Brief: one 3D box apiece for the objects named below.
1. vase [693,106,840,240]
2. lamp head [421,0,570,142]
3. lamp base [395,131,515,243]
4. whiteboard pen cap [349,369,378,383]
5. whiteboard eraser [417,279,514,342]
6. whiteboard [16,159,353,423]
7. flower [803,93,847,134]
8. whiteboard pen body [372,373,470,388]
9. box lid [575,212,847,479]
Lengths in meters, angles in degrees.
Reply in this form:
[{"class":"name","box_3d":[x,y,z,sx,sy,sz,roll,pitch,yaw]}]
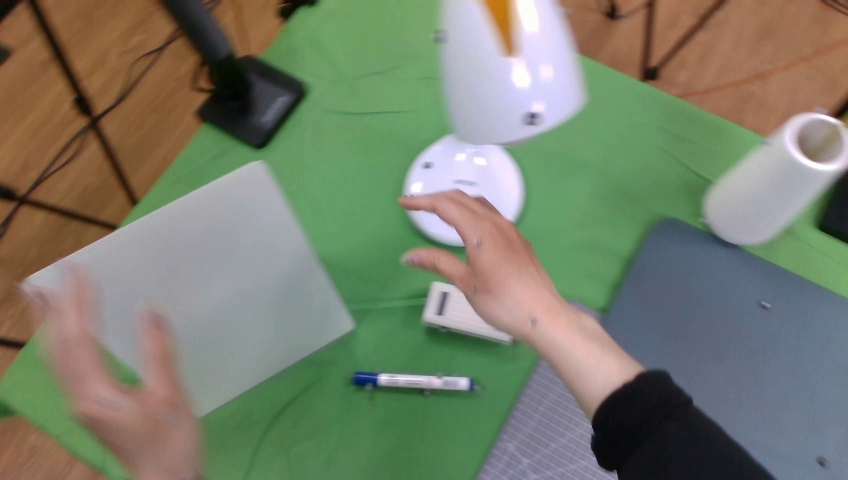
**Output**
[{"class":"vase","box_3d":[0.400,-0.074,0.718,0.098,0.201,0.097,0,69,0]},{"class":"lamp head","box_3d":[0.046,-0.155,0.471,0.112,0.124,0.111,-17,27,9]},{"class":"lamp base","box_3d":[0.039,-0.110,0.748,0.160,0.181,0.178,-2,67,1]},{"class":"whiteboard pen cap","box_3d":[-0.073,0.165,0.735,0.033,0.018,0.018,1,69,5]},{"class":"whiteboard eraser","box_3d":[0.051,0.087,0.749,0.112,0.042,0.055,12,72,5]},{"class":"whiteboard","box_3d":[-0.243,0.031,0.668,0.217,0.309,0.142,-29,52,-9]},{"class":"flower","box_3d":[0.411,-0.114,0.644,0.038,0.364,0.043,-13,62,-20]},{"class":"whiteboard pen body","box_3d":[-0.015,0.169,0.732,0.141,0.017,0.017,1,69,3]},{"class":"box lid","box_3d":[0.398,0.142,0.737,0.370,0.015,0.262,27,72,11]}]
